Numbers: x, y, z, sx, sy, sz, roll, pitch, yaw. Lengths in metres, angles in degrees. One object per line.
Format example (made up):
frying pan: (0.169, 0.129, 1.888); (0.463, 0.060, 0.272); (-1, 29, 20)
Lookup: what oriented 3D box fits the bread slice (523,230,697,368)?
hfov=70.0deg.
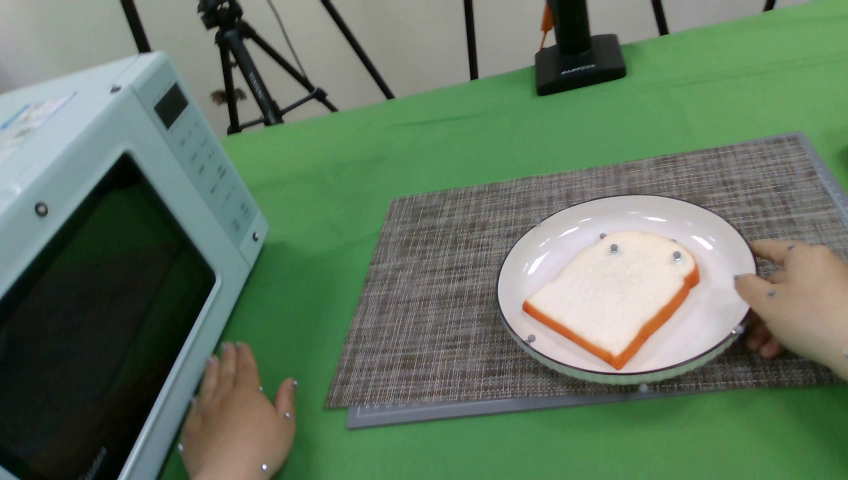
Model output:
bread slice: (0.163, 0.039, 0.520); (0.131, 0.019, 0.104); (-38, 41, -20)

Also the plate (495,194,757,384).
plate: (0.166, 0.039, 0.516); (0.209, 0.038, 0.207); (-14, 38, 12)

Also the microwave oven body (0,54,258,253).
microwave oven body: (-0.401, 0.067, 0.578); (0.325, 0.263, 0.437); (-9, 40, 15)

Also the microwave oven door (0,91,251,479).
microwave oven door: (-0.268, 0.066, 0.505); (0.039, 0.246, 0.352); (-10, 39, 16)

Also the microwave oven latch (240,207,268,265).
microwave oven latch: (-0.213, -0.003, 0.729); (0.030, 0.030, 0.078); (-8, 40, 16)
